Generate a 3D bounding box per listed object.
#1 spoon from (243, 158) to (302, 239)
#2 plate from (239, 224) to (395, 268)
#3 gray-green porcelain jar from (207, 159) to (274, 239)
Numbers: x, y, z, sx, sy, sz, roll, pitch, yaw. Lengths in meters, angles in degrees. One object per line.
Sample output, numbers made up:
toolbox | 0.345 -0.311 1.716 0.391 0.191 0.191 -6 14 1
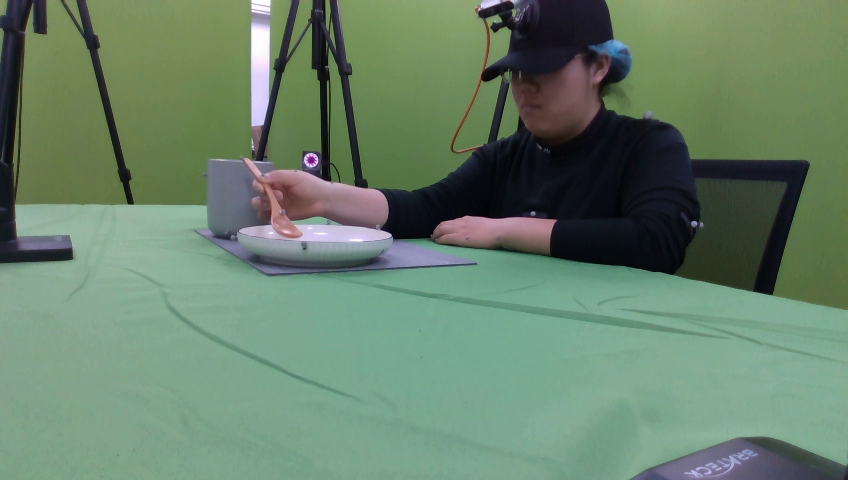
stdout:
spoon | -0.225 -0.063 0.875 0.042 0.021 0.193 4 41 -42
plate | -0.144 0.007 0.823 0.208 0.039 0.207 3 7 0
gray-green porcelain jar | -0.304 -0.068 1.003 0.106 0.126 0.106 3 7 0
